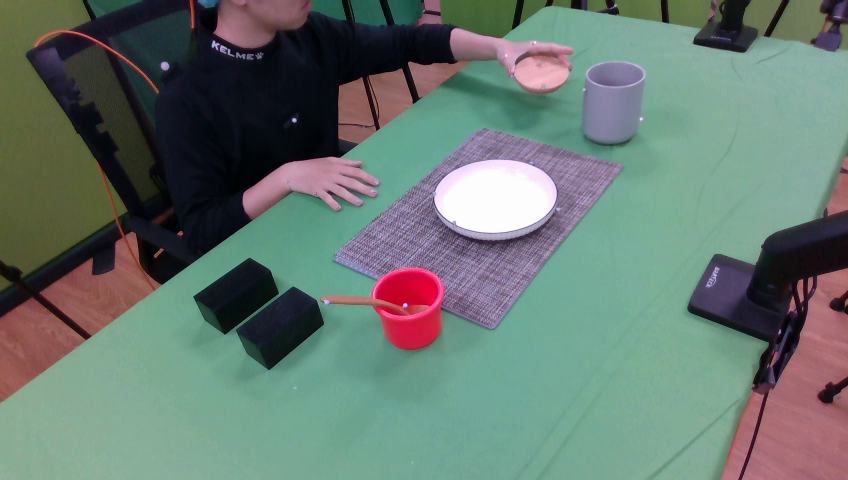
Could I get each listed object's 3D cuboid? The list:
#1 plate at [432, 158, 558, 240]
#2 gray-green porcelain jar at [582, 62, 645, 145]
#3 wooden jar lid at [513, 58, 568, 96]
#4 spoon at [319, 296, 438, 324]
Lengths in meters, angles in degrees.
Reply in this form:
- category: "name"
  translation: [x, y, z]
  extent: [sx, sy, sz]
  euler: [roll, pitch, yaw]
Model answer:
- category: "plate"
  translation: [0.118, -0.066, 1.013]
  extent: [0.207, 0.039, 0.206]
  euler: [-4, 41, 4]
- category: "gray-green porcelain jar"
  translation: [0.350, -0.251, 1.131]
  extent: [0.106, 0.127, 0.105]
  euler: [-4, 41, 4]
- category: "wooden jar lid"
  translation: [0.234, -0.327, 1.216]
  extent: [0.108, 0.021, 0.108]
  euler: [-2, 54, 3]
- category: "spoon"
  translation: [-0.055, 0.086, 0.784]
  extent: [0.195, 0.021, 0.041]
  euler: [19, 19, -44]
